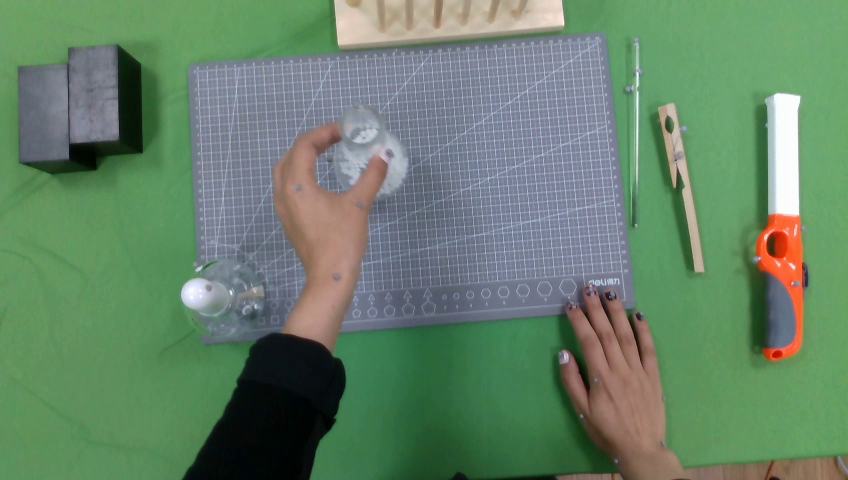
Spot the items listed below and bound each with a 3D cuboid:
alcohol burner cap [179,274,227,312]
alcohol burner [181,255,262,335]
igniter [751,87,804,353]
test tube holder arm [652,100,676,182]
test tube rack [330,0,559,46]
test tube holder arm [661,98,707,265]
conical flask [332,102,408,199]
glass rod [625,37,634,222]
[{"bbox_3d":[-0.199,0.045,0.538,0.034,0.048,0.033,0,76,1],"label":"alcohol burner cap"},{"bbox_3d":[-0.198,0.051,0.573,0.078,0.119,0.077,0,83,2],"label":"alcohol burner"},{"bbox_3d":[0.366,-0.022,0.628,0.057,0.025,0.276,4,85,-10],"label":"igniter"},{"bbox_3d":[0.257,-0.104,0.640,0.010,0.015,0.087,-15,85,36],"label":"test tube holder arm"},{"bbox_3d":[0.021,-0.259,0.619,0.242,0.085,0.066,-5,85,-1],"label":"test tube rack"},{"bbox_3d":[0.271,-0.061,0.633,0.013,0.015,0.178,-16,84,35],"label":"test tube holder arm"},{"bbox_3d":[-0.053,-0.085,0.550,0.075,0.122,0.075,0,82,-1],"label":"conical flask"},{"bbox_3d":[0.219,-0.119,0.645,0.008,0.008,0.199,2,87,0],"label":"glass rod"}]
